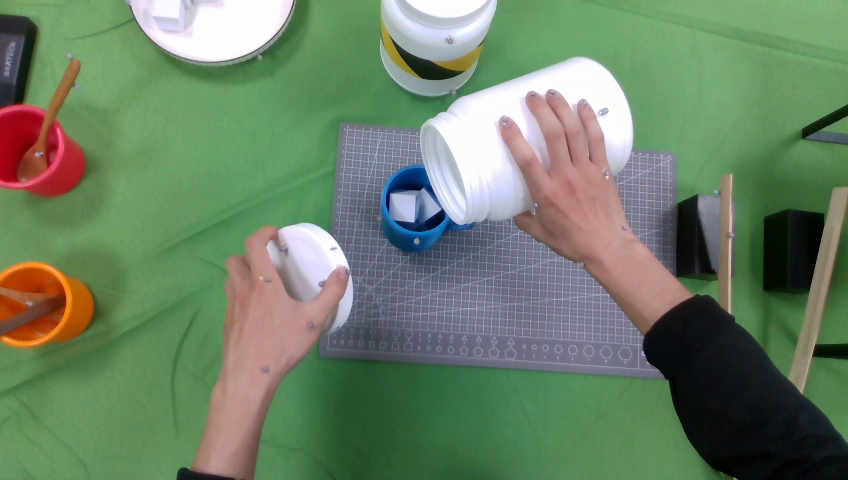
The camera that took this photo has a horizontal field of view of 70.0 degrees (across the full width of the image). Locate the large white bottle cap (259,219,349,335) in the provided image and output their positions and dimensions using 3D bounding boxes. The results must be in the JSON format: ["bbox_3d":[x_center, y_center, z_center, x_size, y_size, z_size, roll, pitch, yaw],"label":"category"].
[{"bbox_3d":[-0.120,0.037,0.596,0.114,0.018,0.115,7,103,36],"label":"large white bottle cap"}]

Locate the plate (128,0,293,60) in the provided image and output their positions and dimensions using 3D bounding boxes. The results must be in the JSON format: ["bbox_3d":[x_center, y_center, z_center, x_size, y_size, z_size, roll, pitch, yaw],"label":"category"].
[{"bbox_3d":[-0.269,-0.325,0.775,0.208,0.039,0.207,1,81,-5],"label":"plate"}]

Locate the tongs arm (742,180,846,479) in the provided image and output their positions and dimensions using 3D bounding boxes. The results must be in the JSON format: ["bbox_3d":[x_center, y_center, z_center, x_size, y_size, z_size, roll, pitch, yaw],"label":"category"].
[{"bbox_3d":[0.459,0.114,0.745,0.028,0.027,0.387,14,92,-12],"label":"tongs arm"}]

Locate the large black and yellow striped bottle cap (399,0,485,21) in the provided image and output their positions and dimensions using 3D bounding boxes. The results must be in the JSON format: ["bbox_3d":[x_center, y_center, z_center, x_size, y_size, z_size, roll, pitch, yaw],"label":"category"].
[{"bbox_3d":[0.018,-0.288,0.638,0.115,0.019,0.114,1,82,-6],"label":"large black and yellow striped bottle cap"}]

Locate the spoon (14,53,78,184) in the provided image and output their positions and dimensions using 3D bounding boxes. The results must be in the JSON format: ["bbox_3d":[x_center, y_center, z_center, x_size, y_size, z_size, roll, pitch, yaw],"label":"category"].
[{"bbox_3d":[-0.422,-0.132,0.677,0.041,0.021,0.194,50,124,7],"label":"spoon"}]

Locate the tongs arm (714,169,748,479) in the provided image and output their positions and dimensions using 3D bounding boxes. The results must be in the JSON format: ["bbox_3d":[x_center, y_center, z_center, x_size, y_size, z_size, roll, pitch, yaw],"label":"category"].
[{"bbox_3d":[0.378,0.107,0.736,0.051,0.026,0.385,0,93,-8],"label":"tongs arm"}]

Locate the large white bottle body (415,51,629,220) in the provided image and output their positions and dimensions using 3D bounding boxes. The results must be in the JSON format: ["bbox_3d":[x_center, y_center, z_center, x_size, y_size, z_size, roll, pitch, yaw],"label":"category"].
[{"bbox_3d":[0.095,-0.102,0.616,0.185,0.131,0.130,-22,83,-13],"label":"large white bottle body"}]

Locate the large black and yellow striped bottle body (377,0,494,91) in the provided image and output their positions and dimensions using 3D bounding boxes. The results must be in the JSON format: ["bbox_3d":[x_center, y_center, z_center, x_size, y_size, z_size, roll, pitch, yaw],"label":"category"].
[{"bbox_3d":[0.011,-0.272,0.720,0.131,0.184,0.130,1,80,-5],"label":"large black and yellow striped bottle body"}]

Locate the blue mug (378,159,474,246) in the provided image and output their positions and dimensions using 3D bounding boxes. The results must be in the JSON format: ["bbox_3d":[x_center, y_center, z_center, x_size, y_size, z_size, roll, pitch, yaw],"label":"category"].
[{"bbox_3d":[0.003,-0.038,0.720,0.117,0.106,0.082,12,80,-3],"label":"blue mug"}]

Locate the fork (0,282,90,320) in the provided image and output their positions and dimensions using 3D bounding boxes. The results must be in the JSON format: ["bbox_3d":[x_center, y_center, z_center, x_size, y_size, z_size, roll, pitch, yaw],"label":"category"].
[{"bbox_3d":[-0.463,0.045,0.643,0.209,0.018,0.028,33,74,-44],"label":"fork"}]

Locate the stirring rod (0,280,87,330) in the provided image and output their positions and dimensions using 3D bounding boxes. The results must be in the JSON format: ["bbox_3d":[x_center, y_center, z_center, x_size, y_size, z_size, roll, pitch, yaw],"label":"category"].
[{"bbox_3d":[-0.443,0.085,0.644,0.014,0.006,0.176,51,38,1],"label":"stirring rod"}]
